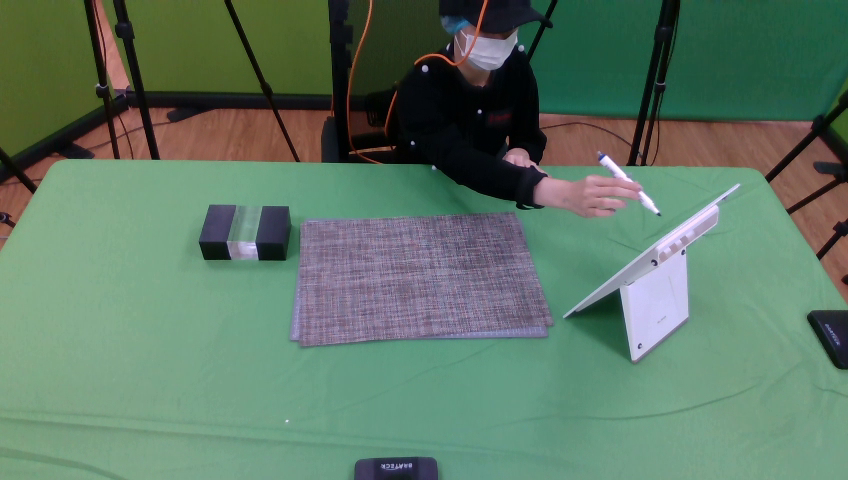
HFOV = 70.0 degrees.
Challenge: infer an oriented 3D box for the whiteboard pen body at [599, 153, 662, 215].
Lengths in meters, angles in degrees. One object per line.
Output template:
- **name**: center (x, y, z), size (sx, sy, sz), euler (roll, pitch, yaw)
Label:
- **whiteboard pen body**: center (0.344, -0.091, 1.009), size (0.140, 0.017, 0.017), euler (46, 56, 6)

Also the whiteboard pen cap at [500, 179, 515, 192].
- **whiteboard pen cap**: center (0.181, -0.119, 1.316), size (0.033, 0.018, 0.018), euler (-35, 58, -27)

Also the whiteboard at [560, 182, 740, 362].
- **whiteboard**: center (0.406, 0.075, 1.001), size (0.217, 0.306, 0.143), euler (-28, 73, -28)
